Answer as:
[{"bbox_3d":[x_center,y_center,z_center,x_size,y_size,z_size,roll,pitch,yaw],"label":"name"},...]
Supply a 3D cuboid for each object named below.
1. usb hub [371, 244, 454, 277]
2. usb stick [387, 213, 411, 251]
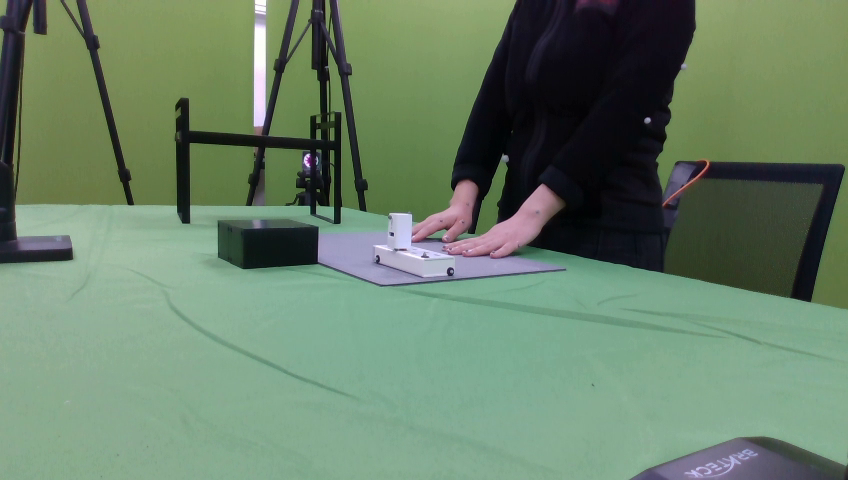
[{"bbox_3d":[-0.018,0.024,0.777,0.050,0.025,0.124,-3,8,-34],"label":"usb hub"},{"bbox_3d":[-0.031,-0.005,0.767,0.027,0.059,0.021,-1,0,-33],"label":"usb stick"}]
